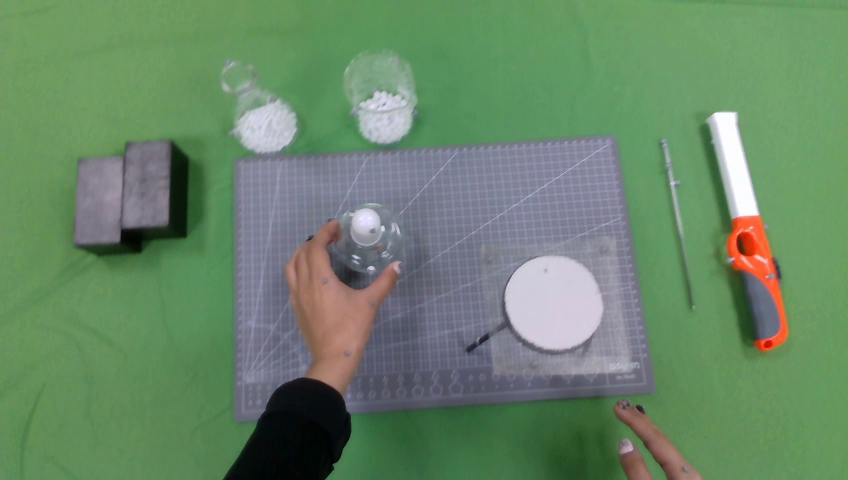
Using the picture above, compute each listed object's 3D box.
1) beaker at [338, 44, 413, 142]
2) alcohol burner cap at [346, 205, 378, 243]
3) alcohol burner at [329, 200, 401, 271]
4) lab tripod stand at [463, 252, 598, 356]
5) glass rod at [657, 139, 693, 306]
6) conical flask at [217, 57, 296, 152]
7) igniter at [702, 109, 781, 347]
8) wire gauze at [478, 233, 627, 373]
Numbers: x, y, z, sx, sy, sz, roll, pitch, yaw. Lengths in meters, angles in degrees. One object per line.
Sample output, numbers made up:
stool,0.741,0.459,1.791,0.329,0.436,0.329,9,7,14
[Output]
beaker,-0.049,-0.157,0.676,0.084,0.100,0.074,32,79,6
alcohol burner cap,-0.061,-0.018,0.596,0.034,0.048,0.033,2,77,-6
alcohol burner,-0.062,-0.009,0.631,0.078,0.119,0.077,0,78,-1
lab tripod stand,0.109,0.073,0.605,0.148,0.132,0.147,0,78,0
glass rod,0.288,-0.023,0.696,0.008,0.008,0.198,-4,77,-2
conical flask,-0.187,-0.151,0.660,0.075,0.122,0.075,0,77,-1
igniter,0.359,-0.019,0.687,0.057,0.025,0.275,-3,77,-12
wire gauze,0.113,0.056,0.539,0.125,0.011,0.121,-3,78,0
